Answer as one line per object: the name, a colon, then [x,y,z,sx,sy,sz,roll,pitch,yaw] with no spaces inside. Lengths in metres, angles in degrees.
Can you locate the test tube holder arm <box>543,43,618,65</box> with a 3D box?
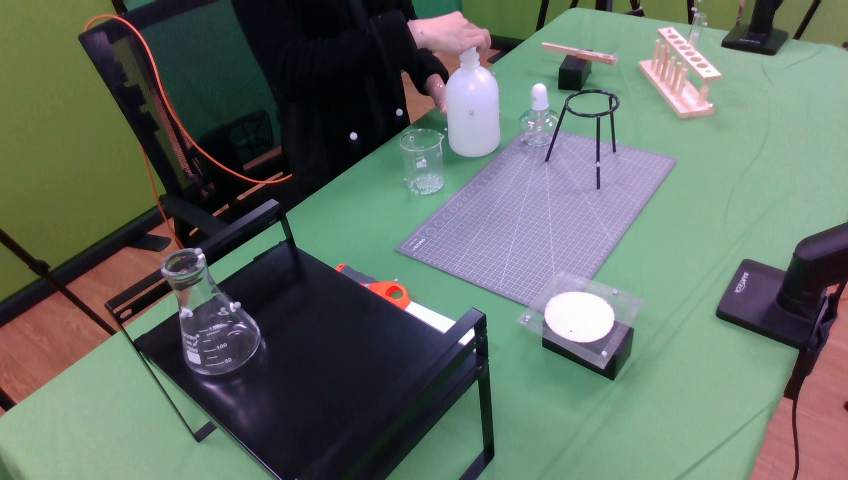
test tube holder arm: [0.344,-0.413,1.340,0.177,0.015,0.013,25,51,31]

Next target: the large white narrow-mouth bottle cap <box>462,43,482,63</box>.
large white narrow-mouth bottle cap: [0.085,-0.334,1.081,0.038,0.024,0.037,-4,40,4]

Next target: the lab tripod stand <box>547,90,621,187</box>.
lab tripod stand: [0.289,-0.184,1.062,0.148,0.132,0.147,-6,41,6]

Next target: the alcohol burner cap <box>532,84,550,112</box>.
alcohol burner cap: [0.218,-0.269,1.133,0.034,0.048,0.033,-8,36,7]

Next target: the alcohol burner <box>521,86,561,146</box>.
alcohol burner: [0.223,-0.241,1.155,0.078,0.119,0.077,-5,43,5]

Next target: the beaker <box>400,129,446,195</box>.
beaker: [0.004,-0.140,1.087,0.084,0.101,0.073,-20,42,-14]

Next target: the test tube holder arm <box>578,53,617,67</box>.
test tube holder arm: [0.376,-0.393,1.314,0.087,0.015,0.010,26,51,32]

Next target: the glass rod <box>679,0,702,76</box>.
glass rod: [0.543,-0.417,1.233,0.008,0.200,0.008,1,40,0]

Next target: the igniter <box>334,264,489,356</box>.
igniter: [-0.030,0.095,0.871,0.274,0.025,0.057,22,59,31]

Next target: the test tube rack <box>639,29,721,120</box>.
test tube rack: [0.527,-0.351,1.262,0.067,0.085,0.241,-8,40,1]

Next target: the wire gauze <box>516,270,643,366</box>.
wire gauze: [0.200,0.093,0.777,0.124,0.011,0.122,23,49,32]

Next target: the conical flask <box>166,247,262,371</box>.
conical flask: [-0.208,0.064,0.584,0.075,0.122,0.075,-5,40,4]

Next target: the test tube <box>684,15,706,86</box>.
test tube: [0.540,-0.378,1.215,0.017,0.151,0.017,-2,44,3]

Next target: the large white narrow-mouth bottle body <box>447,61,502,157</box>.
large white narrow-mouth bottle body: [0.094,-0.261,1.142,0.102,0.195,0.101,-4,40,4]
